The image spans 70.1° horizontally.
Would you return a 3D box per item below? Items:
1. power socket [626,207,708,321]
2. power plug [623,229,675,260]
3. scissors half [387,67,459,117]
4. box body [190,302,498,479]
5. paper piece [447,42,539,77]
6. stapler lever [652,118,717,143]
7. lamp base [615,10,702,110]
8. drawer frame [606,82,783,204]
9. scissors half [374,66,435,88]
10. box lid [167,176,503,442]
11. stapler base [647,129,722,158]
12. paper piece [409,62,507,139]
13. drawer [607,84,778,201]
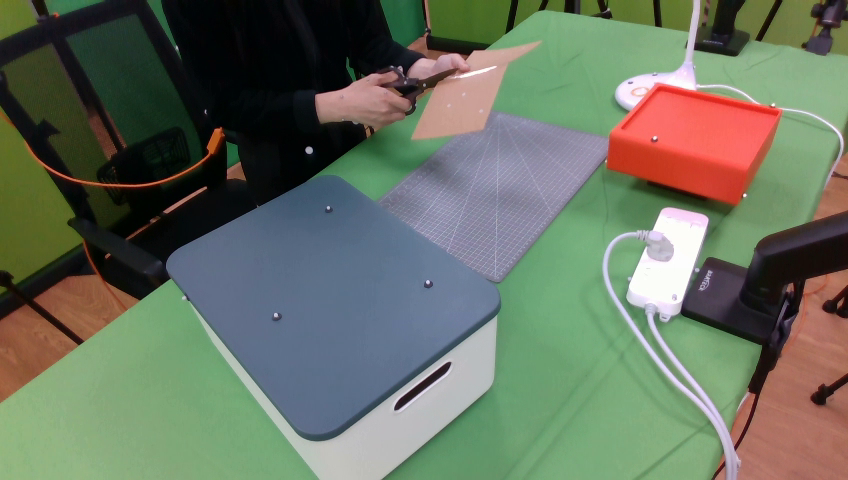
[{"bbox_3d":[0.360,0.026,0.886,0.072,0.033,0.227,16,46,26],"label":"power socket"},{"bbox_3d":[0.327,0.007,0.878,0.072,0.053,0.035,25,51,33],"label":"power plug"},{"bbox_3d":[-0.002,-0.251,1.025,0.174,0.040,0.013,-24,21,47],"label":"scissors half"},{"bbox_3d":[-0.110,0.103,0.761,0.255,0.161,0.361,-33,46,-27],"label":"box body"},{"bbox_3d":[0.111,-0.298,1.003,0.137,0.009,0.136,-3,24,39],"label":"paper piece"},{"bbox_3d":[0.436,-0.192,1.014,0.118,0.040,0.026,-15,25,-16],"label":"stapler lever"},{"bbox_3d":[0.484,-0.364,1.211,0.180,0.181,0.159,-15,41,-14],"label":"lamp base"},{"bbox_3d":[0.441,-0.167,0.995,0.212,0.083,0.202,23,48,30],"label":"drawer frame"},{"bbox_3d":[-0.012,-0.270,1.014,0.174,0.040,0.013,12,48,26],"label":"scissors half"},{"bbox_3d":[-0.119,0.047,0.714,0.264,0.015,0.368,-32,47,-27],"label":"box lid"},{"bbox_3d":[0.439,-0.167,1.023,0.131,0.024,0.041,-16,25,-15],"label":"stapler base"},{"bbox_3d":[0.052,-0.212,0.924,0.134,0.004,0.135,-1,55,38],"label":"paper piece"},{"bbox_3d":[0.438,-0.167,0.995,0.210,0.073,0.195,23,48,30],"label":"drawer"}]
